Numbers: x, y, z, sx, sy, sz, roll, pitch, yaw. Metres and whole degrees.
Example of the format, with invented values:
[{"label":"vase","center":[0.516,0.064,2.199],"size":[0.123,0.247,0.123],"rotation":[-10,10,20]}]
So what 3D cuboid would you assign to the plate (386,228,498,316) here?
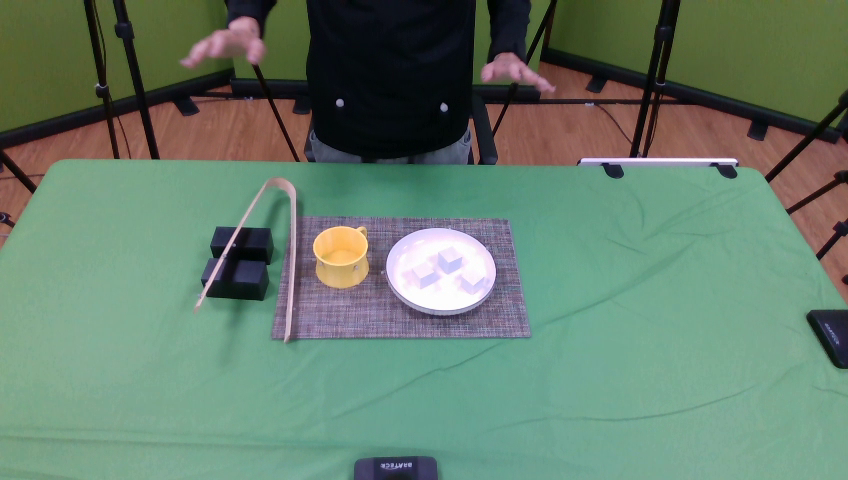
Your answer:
[{"label":"plate","center":[0.032,0.062,1.126],"size":[0.208,0.039,0.206],"rotation":[2,46,-2]}]

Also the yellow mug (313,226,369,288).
[{"label":"yellow mug","center":[-0.146,0.021,1.132],"size":[0.099,0.064,0.130],"rotation":[24,49,19]}]

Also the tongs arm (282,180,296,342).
[{"label":"tongs arm","center":[-0.256,0.026,1.142],"size":[0.028,0.028,0.385],"rotation":[12,43,-23]}]

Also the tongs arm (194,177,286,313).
[{"label":"tongs arm","center":[-0.328,-0.004,1.113],"size":[0.051,0.026,0.382],"rotation":[24,38,-15]}]
